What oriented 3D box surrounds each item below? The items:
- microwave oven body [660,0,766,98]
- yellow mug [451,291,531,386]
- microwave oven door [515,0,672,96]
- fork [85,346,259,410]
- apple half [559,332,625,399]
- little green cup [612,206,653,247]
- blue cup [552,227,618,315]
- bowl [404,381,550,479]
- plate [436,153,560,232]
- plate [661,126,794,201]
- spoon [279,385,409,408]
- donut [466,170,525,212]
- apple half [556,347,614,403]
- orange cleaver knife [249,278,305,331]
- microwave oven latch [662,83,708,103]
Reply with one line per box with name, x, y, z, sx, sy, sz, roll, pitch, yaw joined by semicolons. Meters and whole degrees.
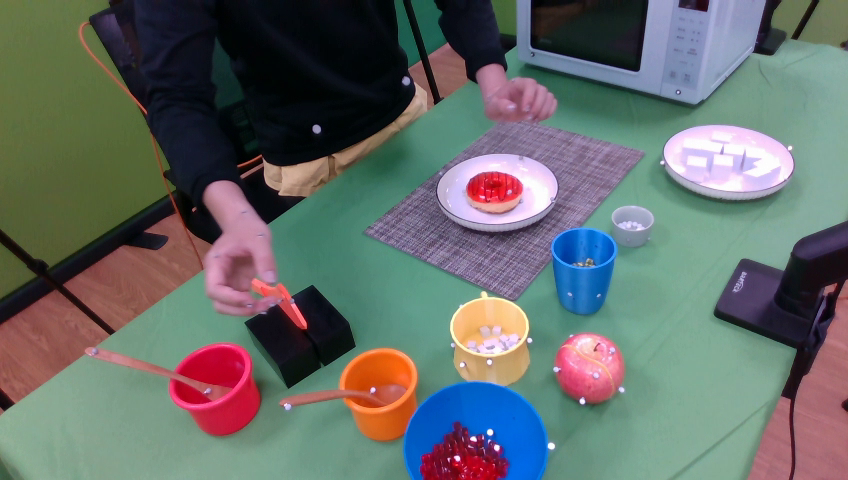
microwave oven body;0.473;-0.513;1.317;0.438;0.261;0.327;26;51;34
yellow mug;0.086;0.120;0.786;0.100;0.064;0.130;-7;39;2
microwave oven door;0.344;-0.455;1.259;0.353;0.245;0.039;26;51;33
fork;-0.298;0.166;0.728;0.209;0.018;0.028;28;46;-23
apple half;0.209;0.147;0.730;0.080;0.075;0.053;26;48;38
little green cup;0.321;-0.019;0.936;0.061;0.039;0.061;-4;41;4
blue cup;0.218;0.047;0.825;0.092;0.101;0.092;-6;39;5
bowl;0.058;0.235;0.645;0.151;0.077;0.150;-4;39;4
plate;0.125;-0.078;1.029;0.209;0.038;0.208;-4;40;4
plate;0.513;-0.128;1.035;0.207;0.039;0.206;-4;40;4
spoon;-0.084;0.176;0.681;0.041;0.195;0.021;34;100;38
donut;0.121;-0.083;1.019;0.099;0.048;0.098;-4;38;4
apple half;0.181;0.168;0.709;0.033;0.081;0.080;-37;48;-29
orange cleaver knife;-0.210;0.088;0.855;0.012;0.077;0.210;-28;14;-25
microwave oven latch;0.518;-0.297;1.205;0.078;0.029;0.030;29;53;36
